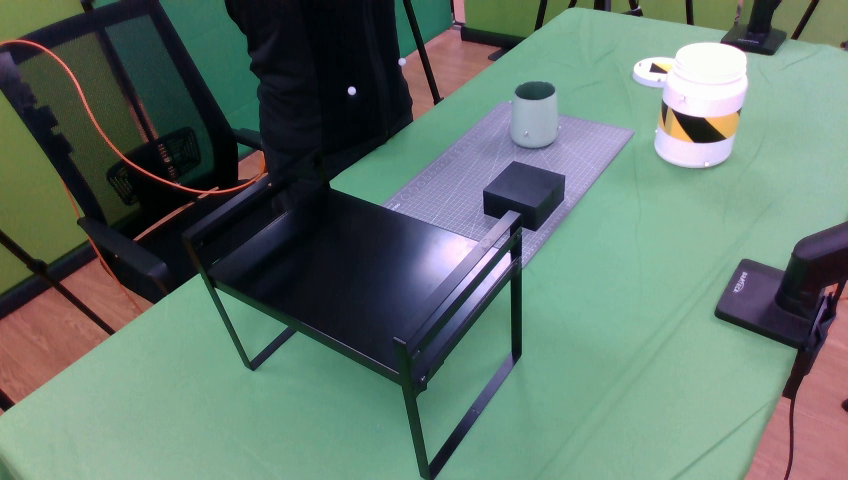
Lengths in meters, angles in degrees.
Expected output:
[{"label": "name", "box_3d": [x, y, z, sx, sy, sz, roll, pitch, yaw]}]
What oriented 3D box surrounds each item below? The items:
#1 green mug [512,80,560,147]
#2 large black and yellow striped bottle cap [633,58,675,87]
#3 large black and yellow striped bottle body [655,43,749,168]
[{"label": "green mug", "box_3d": [0.217, -0.251, 1.169, 0.092, 0.105, 0.125, 2, 42, 12]}, {"label": "large black and yellow striped bottle cap", "box_3d": [0.521, -0.370, 1.332, 0.115, 0.019, 0.114, -3, 41, 3]}, {"label": "large black and yellow striped bottle body", "box_3d": [0.481, -0.233, 1.050, 0.131, 0.185, 0.130, -4, 41, 4]}]
